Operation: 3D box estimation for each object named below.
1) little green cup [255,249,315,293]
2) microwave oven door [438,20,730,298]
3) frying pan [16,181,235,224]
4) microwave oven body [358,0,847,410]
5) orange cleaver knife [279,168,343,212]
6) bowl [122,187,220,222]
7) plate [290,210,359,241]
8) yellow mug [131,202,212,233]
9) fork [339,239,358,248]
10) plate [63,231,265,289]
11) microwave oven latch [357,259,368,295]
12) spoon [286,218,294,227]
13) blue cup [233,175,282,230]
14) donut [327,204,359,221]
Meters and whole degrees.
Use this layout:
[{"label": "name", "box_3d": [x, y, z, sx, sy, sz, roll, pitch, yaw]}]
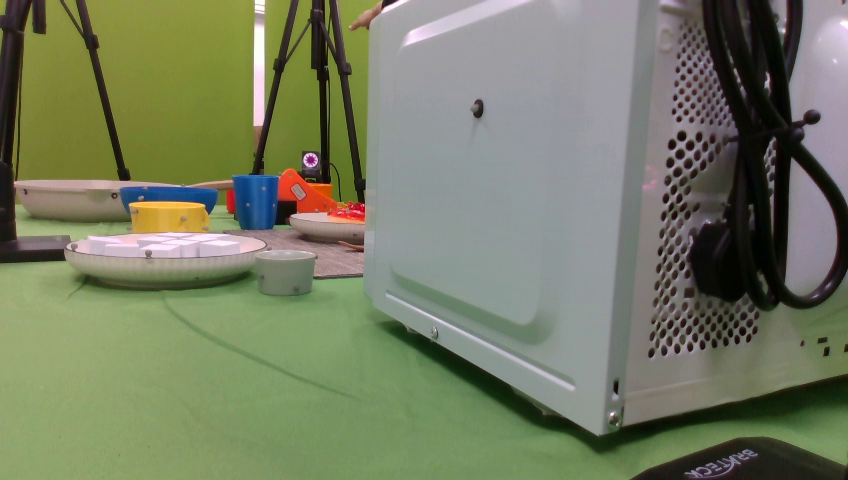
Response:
[{"label": "little green cup", "box_3d": [-0.144, 0.032, 0.627, 0.061, 0.038, 0.061, 2, 6, 0]}, {"label": "microwave oven door", "box_3d": [0.181, -0.076, 0.618, 0.358, 0.243, 0.039, -2, 8, -28]}, {"label": "frying pan", "box_3d": [-0.554, -0.097, 1.266, 0.490, 0.102, 0.305, -10, 13, -24]}, {"label": "microwave oven body", "box_3d": [0.210, -0.051, 0.471, 0.444, 0.260, 0.324, -1, 7, -28]}, {"label": "orange cleaver knife", "box_3d": [-0.236, -0.084, 1.332, 0.212, 0.077, 0.012, 31, -10, -31]}, {"label": "bowl", "box_3d": [-0.421, -0.046, 1.012, 0.151, 0.077, 0.151, 3, 7, 0]}, {"label": "plate", "box_3d": [-0.127, -0.025, 1.051, 0.209, 0.038, 0.209, 2, 7, 0]}, {"label": "yellow mug", "box_3d": [-0.356, -0.020, 0.878, 0.099, 0.064, 0.131, 5, 7, 21]}, {"label": "fork", "box_3d": [-0.027, 0.003, 0.925, 0.208, 0.018, 0.028, -2, -2, -19]}, {"label": "plate", "box_3d": [-0.288, 0.021, 0.687, 0.208, 0.039, 0.207, 2, 8, 0]}, {"label": "microwave oven latch", "box_3d": [-0.019, 0.031, 0.529, 0.079, 0.029, 0.030, -1, 7, -26]}, {"label": "spoon", "box_3d": [-0.180, -0.036, 1.209, 0.195, 0.021, 0.041, -3, -11, -31]}, {"label": "blue cup", "box_3d": [-0.314, -0.071, 1.141, 0.093, 0.100, 0.092, 0, 7, 0]}, {"label": "donut", "box_3d": [-0.120, -0.037, 1.056, 0.099, 0.048, 0.099, 5, 6, 0]}]
